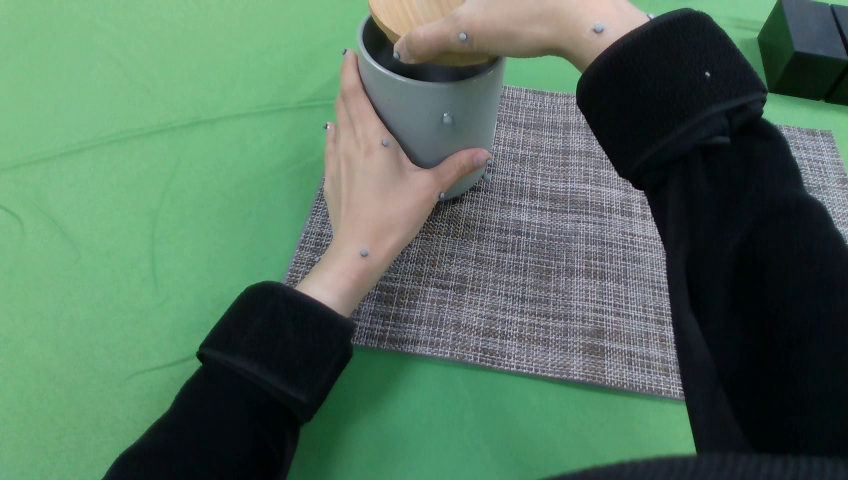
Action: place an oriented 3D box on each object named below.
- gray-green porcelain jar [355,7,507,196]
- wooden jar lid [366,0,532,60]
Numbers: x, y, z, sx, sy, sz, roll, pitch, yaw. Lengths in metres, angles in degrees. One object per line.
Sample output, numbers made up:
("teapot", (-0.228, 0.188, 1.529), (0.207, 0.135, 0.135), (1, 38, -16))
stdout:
("gray-green porcelain jar", (0.002, -0.105, 0.463), (0.106, 0.127, 0.105), (2, 53, -2))
("wooden jar lid", (0.016, -0.156, 0.396), (0.108, 0.021, 0.107), (2, 57, -3))
